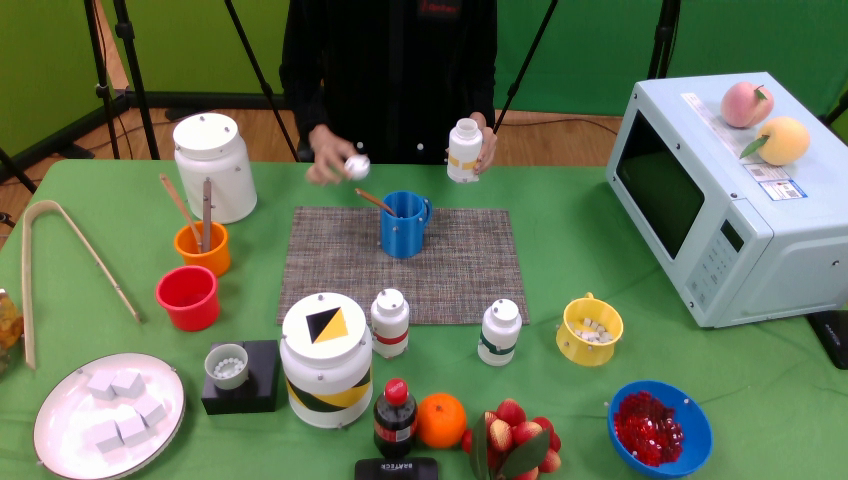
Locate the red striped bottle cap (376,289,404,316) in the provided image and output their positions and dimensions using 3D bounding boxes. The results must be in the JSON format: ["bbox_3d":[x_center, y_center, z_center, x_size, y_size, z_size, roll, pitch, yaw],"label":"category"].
[{"bbox_3d":[-0.054,0.098,0.958,0.044,0.018,0.044,0,48,1],"label":"red striped bottle cap"}]

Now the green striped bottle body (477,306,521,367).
[{"bbox_3d":[0.124,0.151,0.995,0.063,0.120,0.063,2,46,-1],"label":"green striped bottle body"}]

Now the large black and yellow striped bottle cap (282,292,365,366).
[{"bbox_3d":[-0.138,0.121,0.841,0.115,0.019,0.114,3,47,-3],"label":"large black and yellow striped bottle cap"}]

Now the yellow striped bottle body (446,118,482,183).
[{"bbox_3d":[0.076,-0.173,1.155,0.063,0.121,0.062,1,49,-1],"label":"yellow striped bottle body"}]

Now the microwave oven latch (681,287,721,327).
[{"bbox_3d":[0.494,0.119,1.087,0.030,0.029,0.078,-6,46,-9],"label":"microwave oven latch"}]

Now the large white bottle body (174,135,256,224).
[{"bbox_3d":[-0.407,-0.137,1.183,0.131,0.185,0.130,2,46,-2],"label":"large white bottle body"}]

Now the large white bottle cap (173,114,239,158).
[{"bbox_3d":[-0.403,-0.195,1.122,0.115,0.018,0.114,2,47,-2],"label":"large white bottle cap"}]

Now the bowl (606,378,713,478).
[{"bbox_3d":[0.340,0.292,0.906,0.151,0.077,0.150,2,46,-2],"label":"bowl"}]

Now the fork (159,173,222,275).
[{"bbox_3d":[-0.427,-0.029,1.103,0.028,0.018,0.207,-31,99,-30],"label":"fork"}]

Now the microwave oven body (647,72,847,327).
[{"bbox_3d":[0.607,-0.089,1.164,0.326,0.261,0.438,-7,46,-10],"label":"microwave oven body"}]

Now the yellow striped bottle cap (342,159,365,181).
[{"bbox_3d":[-0.132,-0.131,1.137,0.044,0.019,0.044,5,47,-5],"label":"yellow striped bottle cap"}]

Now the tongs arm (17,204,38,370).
[{"bbox_3d":[-0.698,0.069,1.068,0.028,0.028,0.385,-20,50,-13],"label":"tongs arm"}]

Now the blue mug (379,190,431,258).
[{"bbox_3d":[-0.032,-0.037,1.169,0.116,0.106,0.082,-29,55,-28],"label":"blue mug"}]

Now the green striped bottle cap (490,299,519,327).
[{"bbox_3d":[0.128,0.115,0.958,0.044,0.020,0.044,2,47,-2],"label":"green striped bottle cap"}]

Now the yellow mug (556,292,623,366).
[{"bbox_3d":[0.285,0.145,1.051,0.100,0.064,0.130,7,45,3],"label":"yellow mug"}]

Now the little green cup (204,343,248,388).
[{"bbox_3d":[-0.294,0.190,0.909,0.061,0.039,0.061,1,48,-1],"label":"little green cup"}]

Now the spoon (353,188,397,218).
[{"bbox_3d":[-0.069,-0.053,1.121,0.021,0.195,0.041,-36,51,11],"label":"spoon"}]

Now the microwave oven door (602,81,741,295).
[{"bbox_3d":[0.456,-0.107,1.162,0.039,0.245,0.353,-6,47,-11],"label":"microwave oven door"}]

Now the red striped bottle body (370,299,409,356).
[{"bbox_3d":[-0.058,0.134,0.997,0.063,0.120,0.062,4,47,-4],"label":"red striped bottle body"}]

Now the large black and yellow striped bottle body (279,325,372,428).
[{"bbox_3d":[-0.143,0.181,0.900,0.131,0.185,0.130,2,46,-2],"label":"large black and yellow striped bottle body"}]

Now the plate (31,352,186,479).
[{"bbox_3d":[-0.459,0.262,0.898,0.209,0.038,0.208,2,46,-2],"label":"plate"}]

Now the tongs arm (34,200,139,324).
[{"bbox_3d":[-0.622,0.034,1.105,0.051,0.026,0.382,-32,55,-26],"label":"tongs arm"}]

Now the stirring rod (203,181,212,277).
[{"bbox_3d":[-0.396,-0.021,1.108,0.014,0.006,0.176,-1,89,-1],"label":"stirring rod"}]
